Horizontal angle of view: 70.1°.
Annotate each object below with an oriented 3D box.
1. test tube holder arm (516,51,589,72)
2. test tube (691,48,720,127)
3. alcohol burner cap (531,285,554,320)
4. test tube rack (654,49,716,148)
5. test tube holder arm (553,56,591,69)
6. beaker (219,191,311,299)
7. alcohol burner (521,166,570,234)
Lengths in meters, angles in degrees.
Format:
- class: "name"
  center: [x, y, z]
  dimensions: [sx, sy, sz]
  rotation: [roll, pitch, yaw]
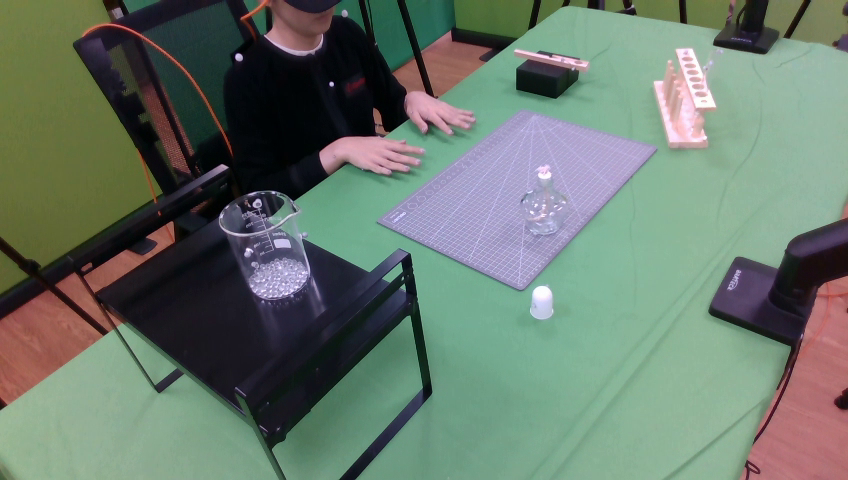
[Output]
- class: "test tube holder arm"
  center: [0.277, -0.391, 1.318]
  dimensions: [0.177, 0.015, 0.013]
  rotation: [22, 58, 32]
- class: "test tube"
  center: [0.505, -0.270, 1.088]
  dimensions: [0.017, 0.151, 0.017]
  rotation: [-1, 40, 2]
- class: "alcohol burner cap"
  center: [0.164, 0.084, 0.838]
  dimensions: [0.034, 0.048, 0.033]
  rotation: [-4, 40, 4]
- class: "test tube rack"
  center: [0.502, -0.281, 1.176]
  dimensions: [0.066, 0.085, 0.241]
  rotation: [2, 41, 11]
- class: "test tube holder arm"
  center: [0.315, -0.380, 1.297]
  dimensions: [0.087, 0.015, 0.010]
  rotation: [22, 58, 32]
- class: "beaker"
  center: [-0.164, 0.008, 0.654]
  dimensions: [0.084, 0.101, 0.073]
  rotation: [-10, 41, -3]
- class: "alcohol burner"
  center: [0.192, -0.068, 0.951]
  dimensions: [0.078, 0.119, 0.077]
  rotation: [-4, 42, 4]
